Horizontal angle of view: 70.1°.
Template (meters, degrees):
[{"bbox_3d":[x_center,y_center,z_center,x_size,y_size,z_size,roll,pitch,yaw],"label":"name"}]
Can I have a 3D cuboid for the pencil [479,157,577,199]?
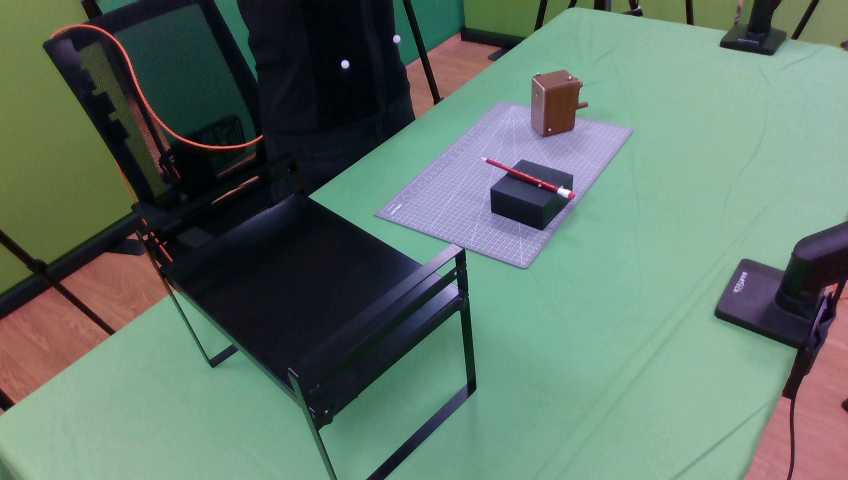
[{"bbox_3d":[0.167,-0.106,1.001,0.192,0.012,0.012,28,52,33],"label":"pencil"}]

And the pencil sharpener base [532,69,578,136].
[{"bbox_3d":[0.256,-0.268,1.179,0.077,0.107,0.061,-15,41,-9],"label":"pencil sharpener base"}]

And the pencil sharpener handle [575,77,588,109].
[{"bbox_3d":[0.304,-0.289,1.177,0.031,0.068,0.035,-15,33,-9],"label":"pencil sharpener handle"}]
